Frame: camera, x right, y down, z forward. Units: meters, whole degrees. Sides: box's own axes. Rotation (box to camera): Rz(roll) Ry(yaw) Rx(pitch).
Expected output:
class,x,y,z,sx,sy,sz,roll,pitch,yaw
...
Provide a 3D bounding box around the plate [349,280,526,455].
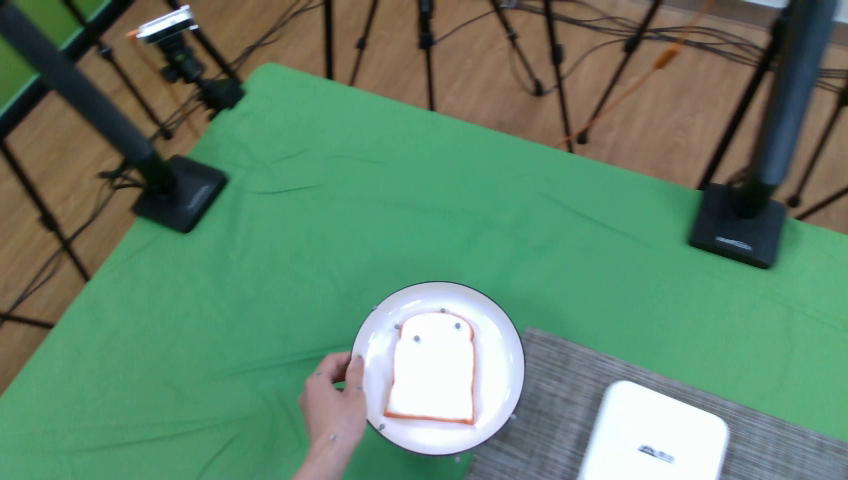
class,x,y,z,sx,sy,sz,roll,pitch,yaw
plate,0.016,0.149,0.724,0.209,0.038,0.207,-1,65,2

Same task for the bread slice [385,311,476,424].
class,x,y,z,sx,sy,sz,roll,pitch,yaw
bread slice,0.011,0.149,0.727,0.105,0.019,0.130,3,65,3

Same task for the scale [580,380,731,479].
class,x,y,z,sx,sy,sz,roll,pitch,yaw
scale,0.270,0.280,0.721,0.148,0.032,0.200,20,65,16
